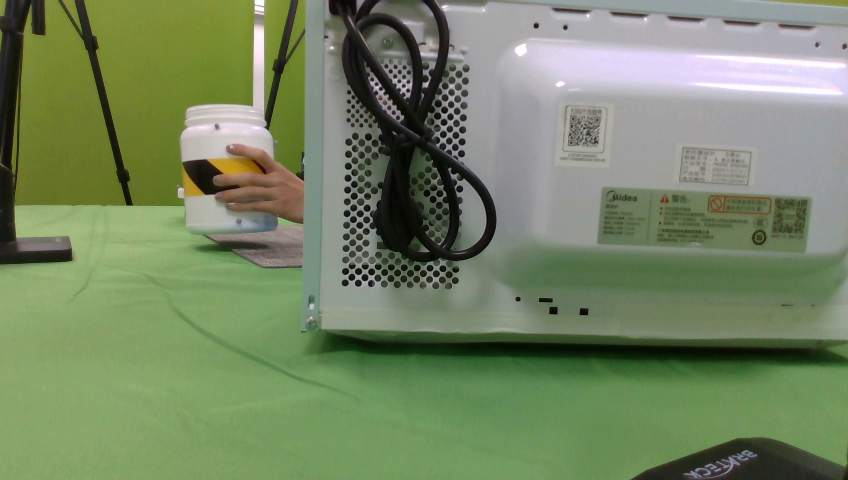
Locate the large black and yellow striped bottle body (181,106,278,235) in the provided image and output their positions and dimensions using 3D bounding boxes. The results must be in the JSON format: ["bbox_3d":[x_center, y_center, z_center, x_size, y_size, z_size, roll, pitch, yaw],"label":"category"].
[{"bbox_3d":[-0.292,-0.102,0.909,0.131,0.184,0.131,-2,3,0],"label":"large black and yellow striped bottle body"}]

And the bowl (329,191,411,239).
[{"bbox_3d":[-0.099,-0.046,1.104,0.151,0.077,0.151,3,8,0],"label":"bowl"}]

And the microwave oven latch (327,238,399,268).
[{"bbox_3d":[-0.069,0.015,0.694,0.079,0.029,0.030,3,7,-3],"label":"microwave oven latch"}]

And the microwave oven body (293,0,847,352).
[{"bbox_3d":[0.122,-0.055,0.550,0.442,0.260,0.325,3,7,-5],"label":"microwave oven body"}]

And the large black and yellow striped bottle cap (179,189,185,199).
[{"bbox_3d":[-0.434,-0.093,1.226,0.115,0.019,0.115,3,9,0],"label":"large black and yellow striped bottle cap"}]

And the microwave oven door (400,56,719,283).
[{"bbox_3d":[0.155,-0.077,0.698,0.356,0.243,0.039,2,8,-5],"label":"microwave oven door"}]
